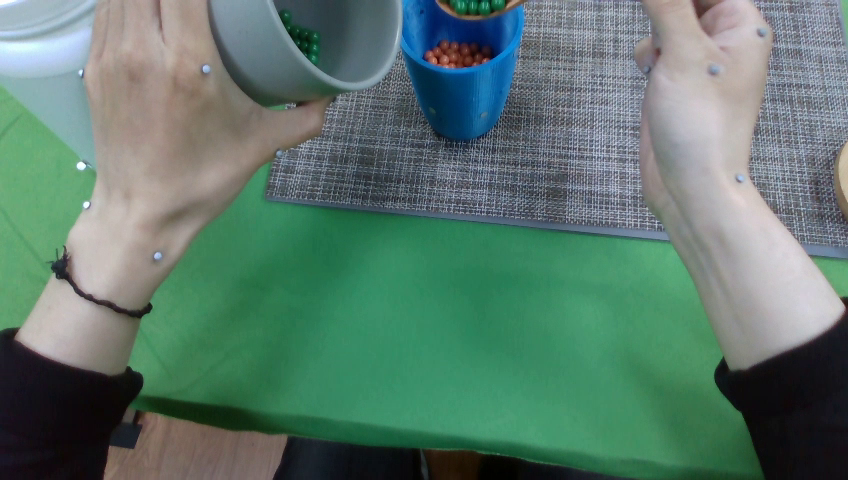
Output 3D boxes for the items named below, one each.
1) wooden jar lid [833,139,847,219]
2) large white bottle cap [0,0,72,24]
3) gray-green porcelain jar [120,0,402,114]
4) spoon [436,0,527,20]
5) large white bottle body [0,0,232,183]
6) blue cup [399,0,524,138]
[{"bbox_3d":[0.346,-0.035,0.434,0.108,0.021,0.107,0,67,-1],"label":"wooden jar lid"},{"bbox_3d":[-0.229,-0.170,0.338,0.115,0.018,0.114,-1,67,2],"label":"large white bottle cap"},{"bbox_3d":[-0.093,-0.128,0.336,0.126,0.107,0.105,0,64,34],"label":"gray-green porcelain jar"},{"bbox_3d":[0.095,-0.146,0.327,0.193,0.022,0.041,3,72,27],"label":"spoon"},{"bbox_3d":[-0.224,-0.136,0.416,0.130,0.186,0.129,-1,67,2],"label":"large white bottle body"},{"bbox_3d":[0.027,-0.125,0.441,0.092,0.101,0.092,-2,68,4],"label":"blue cup"}]
